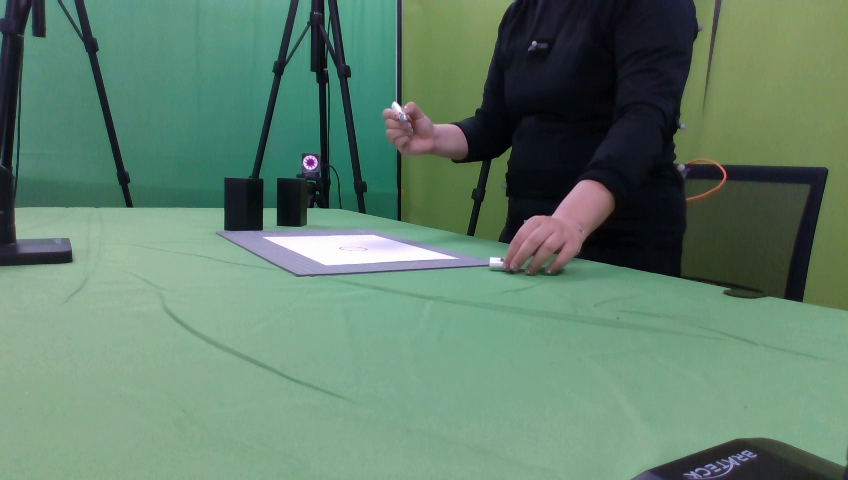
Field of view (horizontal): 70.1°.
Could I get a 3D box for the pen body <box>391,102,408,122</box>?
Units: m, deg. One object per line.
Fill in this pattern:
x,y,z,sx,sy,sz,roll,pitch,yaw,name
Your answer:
-0.045,-0.237,1.127,0.017,0.017,0.143,1,22,-12,pen body

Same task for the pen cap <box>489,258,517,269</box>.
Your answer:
0.107,0.032,0.822,0.038,0.017,0.017,-2,6,7,pen cap
